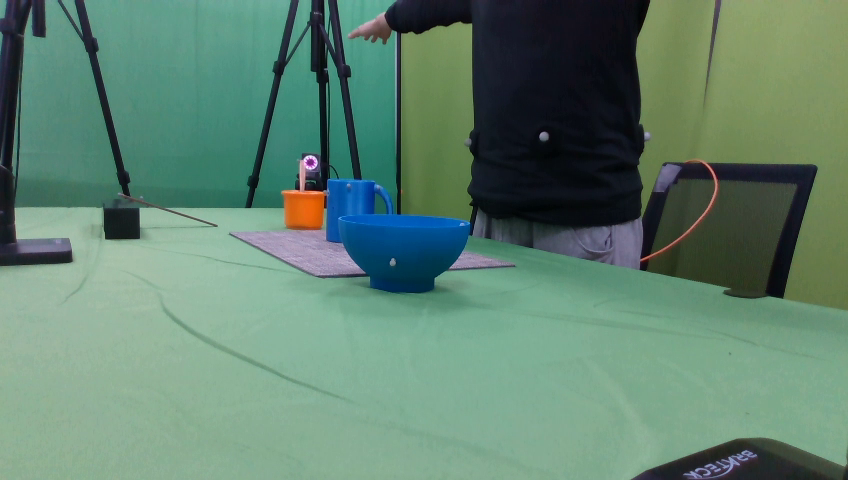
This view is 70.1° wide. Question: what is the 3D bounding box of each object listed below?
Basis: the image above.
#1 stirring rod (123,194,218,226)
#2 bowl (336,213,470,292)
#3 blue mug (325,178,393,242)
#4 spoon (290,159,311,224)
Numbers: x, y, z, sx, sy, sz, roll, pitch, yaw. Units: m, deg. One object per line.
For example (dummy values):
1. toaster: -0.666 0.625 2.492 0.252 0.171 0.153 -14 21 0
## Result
1. stirring rod: -0.480 -0.056 1.153 0.177 0.006 0.014 20 -5 -29
2. bowl: -0.025 0.013 0.685 0.151 0.077 0.151 2 7 0
3. blue mug: -0.111 -0.052 1.034 0.116 0.106 0.082 3 7 7
4. spoon: -0.256 -0.104 1.265 0.042 0.193 0.021 0 -37 -9
